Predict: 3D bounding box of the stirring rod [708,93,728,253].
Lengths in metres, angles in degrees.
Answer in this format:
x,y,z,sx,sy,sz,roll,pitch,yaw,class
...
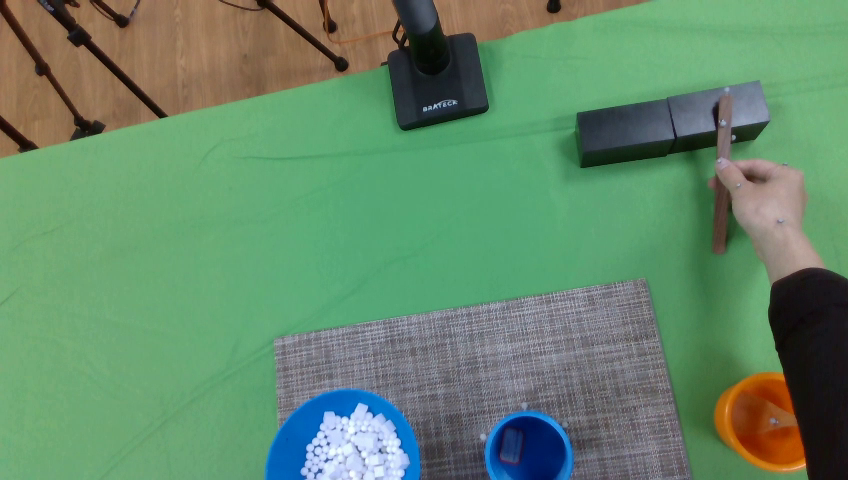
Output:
x,y,z,sx,sy,sz,roll,pitch,yaw,class
0.326,-0.073,0.671,0.014,0.006,0.176,0,98,10,stirring rod

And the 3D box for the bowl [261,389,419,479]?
x,y,z,sx,sy,sz,roll,pitch,yaw,class
-0.077,0.232,0.610,0.151,0.077,0.150,-1,65,4,bowl

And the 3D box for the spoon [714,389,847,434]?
x,y,z,sx,sy,sz,roll,pitch,yaw,class
0.365,0.170,0.562,0.022,0.193,0.041,22,75,-29,spoon

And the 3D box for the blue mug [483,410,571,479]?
x,y,z,sx,sy,sz,roll,pitch,yaw,class
0.097,0.229,0.615,0.082,0.106,0.116,28,83,16,blue mug
